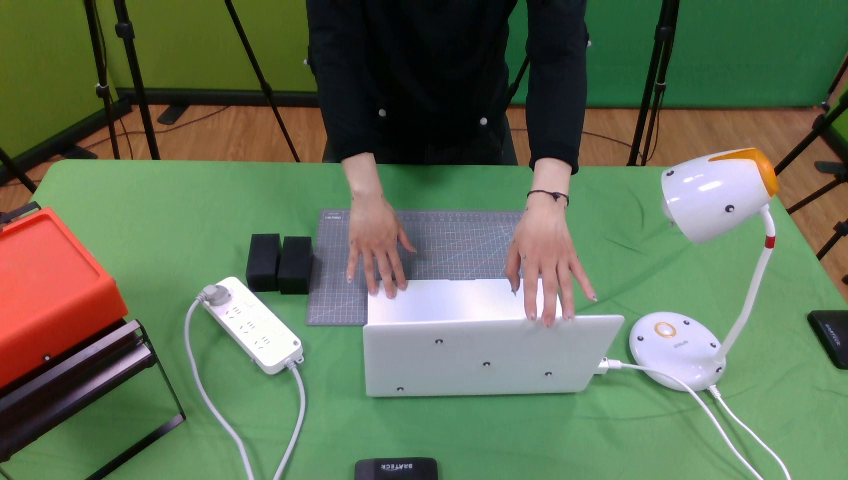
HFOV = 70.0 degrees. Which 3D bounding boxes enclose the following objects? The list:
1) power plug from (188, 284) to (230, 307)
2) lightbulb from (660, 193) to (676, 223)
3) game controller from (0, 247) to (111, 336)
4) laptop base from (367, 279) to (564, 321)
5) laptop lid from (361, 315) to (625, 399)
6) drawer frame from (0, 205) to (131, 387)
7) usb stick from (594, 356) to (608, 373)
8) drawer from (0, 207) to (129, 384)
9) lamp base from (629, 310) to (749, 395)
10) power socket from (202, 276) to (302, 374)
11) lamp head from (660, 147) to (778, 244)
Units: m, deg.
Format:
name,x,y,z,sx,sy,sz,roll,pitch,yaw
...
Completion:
name,x,y,z,sx,sy,sz,roll,pitch,yaw
power plug,-0.368,0.100,1.036,0.072,0.053,0.035,-26,53,-24
lightbulb,0.369,-0.060,0.808,0.060,0.107,0.059,20,58,-35
game controller,-0.511,0.063,0.831,0.097,0.052,0.154,-29,57,-33
laptop base,0.077,0.162,1.053,0.355,0.023,0.234,-1,44,-4
laptop lid,0.089,0.175,0.878,0.357,0.243,0.013,0,52,-6
drawer frame,-0.539,0.075,0.795,0.200,0.083,0.213,36,54,26
usb stick,0.273,0.207,1.008,0.059,0.027,0.021,0,50,1
drawer,-0.539,0.074,0.798,0.193,0.073,0.211,37,55,27
lamp base,0.447,0.142,0.984,0.161,0.181,0.178,-24,55,-24
power socket,-0.296,0.142,1.034,0.072,0.033,0.225,-34,58,-31
lamp head,0.389,-0.063,0.785,0.123,0.113,0.112,-22,33,37
